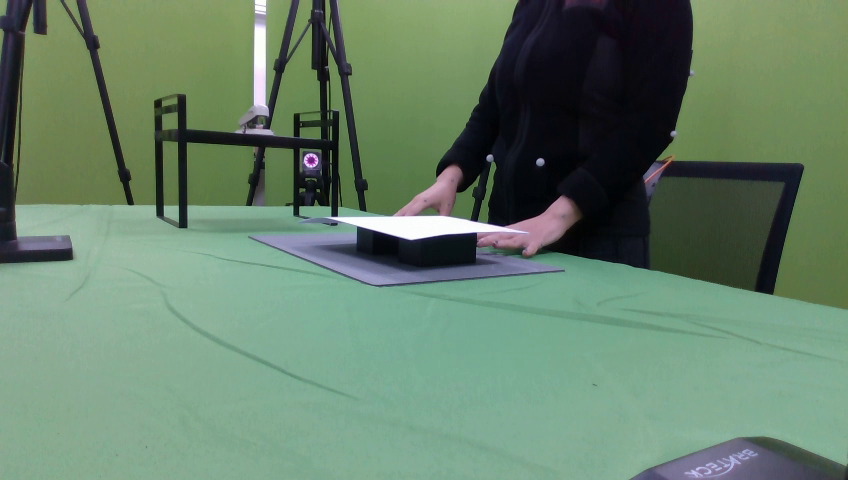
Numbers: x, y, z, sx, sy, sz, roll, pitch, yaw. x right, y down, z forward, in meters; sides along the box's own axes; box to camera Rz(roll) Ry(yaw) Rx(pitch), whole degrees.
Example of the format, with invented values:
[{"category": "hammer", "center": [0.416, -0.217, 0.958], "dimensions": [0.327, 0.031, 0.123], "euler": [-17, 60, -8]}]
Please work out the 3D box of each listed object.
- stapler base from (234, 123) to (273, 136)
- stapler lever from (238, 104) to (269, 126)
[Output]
[{"category": "stapler base", "center": [-0.344, -0.224, 1.222], "dimensions": [0.041, 0.024, 0.130], "euler": [1, 5, -36]}, {"category": "stapler lever", "center": [-0.344, -0.249, 1.220], "dimensions": [0.027, 0.040, 0.117], "euler": [1, 5, -36]}]
